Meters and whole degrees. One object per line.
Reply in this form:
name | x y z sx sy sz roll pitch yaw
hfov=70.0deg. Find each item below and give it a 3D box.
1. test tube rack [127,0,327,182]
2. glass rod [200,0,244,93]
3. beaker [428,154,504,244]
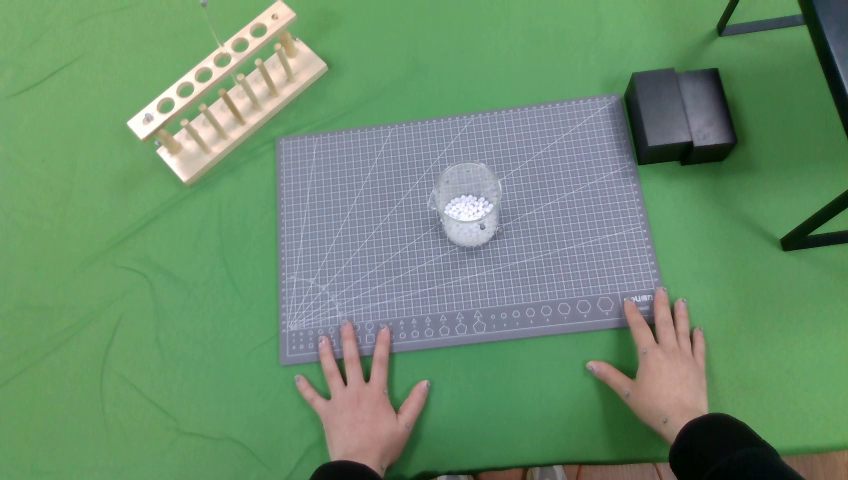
test tube rack | -0.245 -0.191 0.777 0.242 0.086 0.066 -43 73 -9
glass rod | -0.246 -0.245 0.725 0.008 0.201 0.008 -1 63 1
beaker | 0.048 -0.041 0.694 0.084 0.101 0.073 -18 71 0
